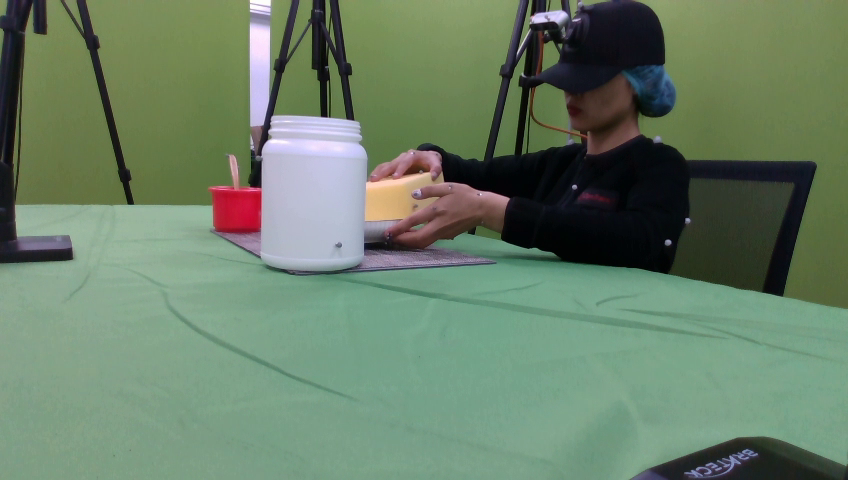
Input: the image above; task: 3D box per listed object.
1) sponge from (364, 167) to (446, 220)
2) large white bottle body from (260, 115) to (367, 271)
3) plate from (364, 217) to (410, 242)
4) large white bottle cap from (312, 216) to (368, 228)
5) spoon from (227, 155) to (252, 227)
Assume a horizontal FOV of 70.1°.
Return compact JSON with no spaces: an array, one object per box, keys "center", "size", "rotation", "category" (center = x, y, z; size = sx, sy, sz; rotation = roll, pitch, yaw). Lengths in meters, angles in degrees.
[{"center":[-0.047,-0.082,1.076],"size":[0.118,0.061,0.207],"rotation":[-6,11,19],"category":"sponge"},{"center":[-0.139,-0.061,0.763],"size":[0.131,0.184,0.130],"rotation":[3,8,0],"category":"large white bottle body"},{"center":[-0.125,-0.020,0.981],"size":[0.209,0.038,0.209],"rotation":[-1,5,0],"category":"plate"},{"center":[-0.171,-0.038,1.233],"size":[0.115,0.018,0.115],"rotation":[2,5,0],"category":"large white bottle cap"},{"center":[-0.343,-0.093,1.108],"size":[0.042,0.021,0.193],"rotation":[-1,52,-22],"category":"spoon"}]
